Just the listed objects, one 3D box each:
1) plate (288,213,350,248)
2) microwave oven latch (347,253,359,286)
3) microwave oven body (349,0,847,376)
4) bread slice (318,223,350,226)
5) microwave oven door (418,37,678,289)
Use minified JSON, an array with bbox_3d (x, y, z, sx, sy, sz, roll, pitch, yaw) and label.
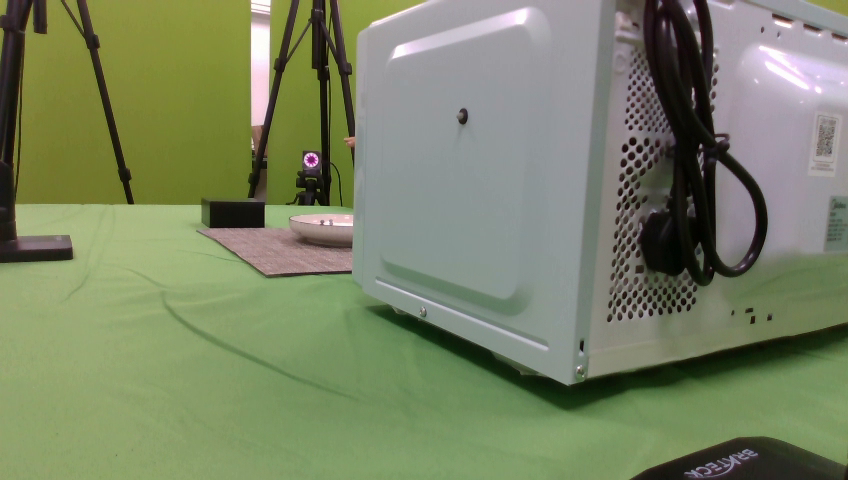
[{"bbox_3d":[-0.122,-0.017,1.008,0.209,0.038,0.209,3,8,0],"label":"plate"},{"bbox_3d":[-0.034,0.028,0.581,0.079,0.029,0.030,-1,7,-31],"label":"microwave oven latch"},{"bbox_3d":[0.199,-0.053,0.539,0.444,0.260,0.324,-1,8,-32],"label":"microwave oven body"},{"bbox_3d":[-0.122,-0.015,1.004,0.131,0.019,0.105,4,7,12],"label":"bread slice"},{"bbox_3d":[0.159,-0.079,0.684,0.358,0.243,0.039,-2,9,-32],"label":"microwave oven door"}]
